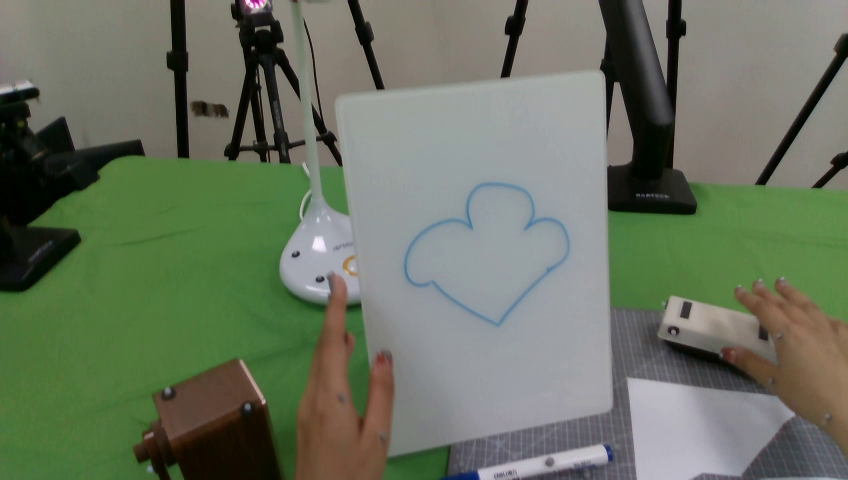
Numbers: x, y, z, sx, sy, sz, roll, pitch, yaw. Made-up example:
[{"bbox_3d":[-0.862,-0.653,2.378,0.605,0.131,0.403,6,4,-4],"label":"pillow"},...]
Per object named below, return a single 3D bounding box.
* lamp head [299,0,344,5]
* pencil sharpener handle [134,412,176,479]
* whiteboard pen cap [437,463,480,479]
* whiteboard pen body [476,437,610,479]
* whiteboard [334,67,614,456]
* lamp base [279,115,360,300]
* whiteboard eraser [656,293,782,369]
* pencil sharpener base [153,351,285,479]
[{"bbox_3d":[-0.097,-0.280,0.514,0.113,0.113,0.122,-18,62,-24],"label":"lamp head"},{"bbox_3d":[-0.202,0.162,0.444,0.031,0.068,0.035,-22,25,-27],"label":"pencil sharpener handle"},{"bbox_3d":[0.028,0.191,0.489,0.033,0.018,0.018,-9,34,-11],"label":"whiteboard pen cap"},{"bbox_3d":[0.086,0.182,0.498,0.141,0.017,0.017,-8,34,-9],"label":"whiteboard pen body"},{"bbox_3d":[0.042,0.009,0.565,0.217,0.307,0.143,-8,15,-9],"label":"whiteboard"},{"bbox_3d":[-0.108,-0.047,0.714,0.161,0.182,0.177,-26,38,-32],"label":"lamp base"},{"bbox_3d":[0.298,0.092,0.613,0.112,0.042,0.055,15,38,23],"label":"whiteboard eraser"},{"bbox_3d":[-0.161,0.155,0.477,0.077,0.108,0.060,-21,39,-27],"label":"pencil sharpener base"}]
